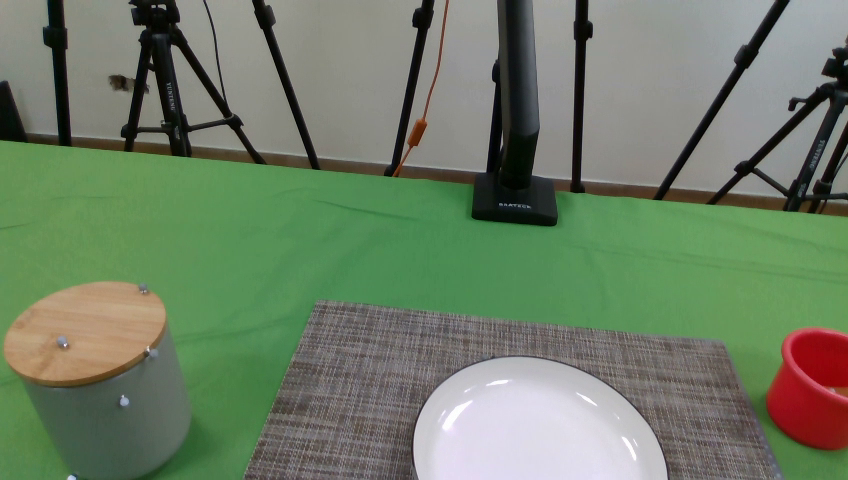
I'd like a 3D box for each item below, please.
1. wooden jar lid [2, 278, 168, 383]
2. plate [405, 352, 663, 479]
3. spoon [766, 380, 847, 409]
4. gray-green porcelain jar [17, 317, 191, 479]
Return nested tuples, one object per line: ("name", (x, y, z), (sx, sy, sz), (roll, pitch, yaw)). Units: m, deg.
("wooden jar lid", (-0.249, 0.069, 0.452), (0.108, 0.021, 0.107), (5, 34, -3))
("plate", (0.088, 0.181, 0.505), (0.208, 0.039, 0.205), (3, 35, -1))
("spoon", (0.396, 0.128, 0.520), (0.041, 0.021, 0.193), (-32, 4, -39))
("gray-green porcelain jar", (-0.251, 0.121, 0.490), (0.106, 0.127, 0.105), (3, 36, -2))
